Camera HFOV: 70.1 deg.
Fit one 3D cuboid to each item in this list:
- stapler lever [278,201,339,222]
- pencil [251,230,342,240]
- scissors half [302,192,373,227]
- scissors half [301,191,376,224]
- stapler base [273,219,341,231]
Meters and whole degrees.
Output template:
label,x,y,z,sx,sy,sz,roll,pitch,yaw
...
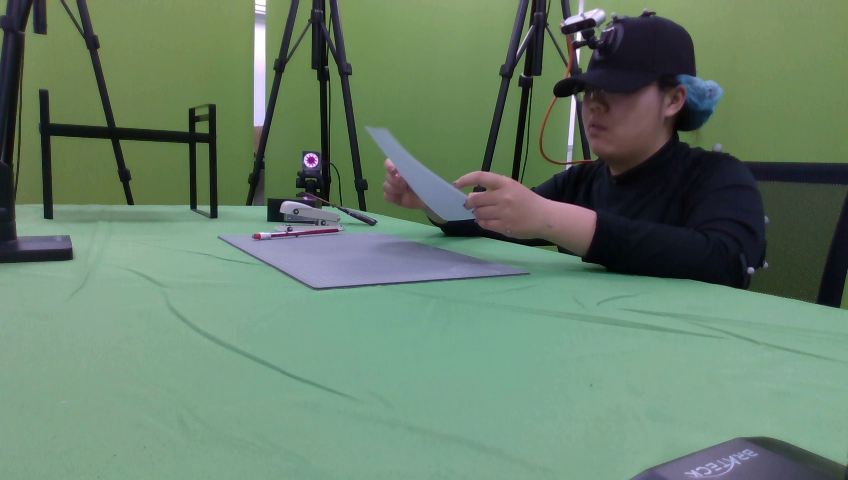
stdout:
label,x,y,z,sx,sy,sz,roll,pitch,yaw
stapler lever,-0.223,-0.054,1.170,0.119,0.040,0.026,-1,11,-34
pencil,-0.215,-0.011,1.049,0.012,0.012,0.195,9,9,39
scissors half,-0.191,-0.069,1.314,0.175,0.013,0.040,26,15,7
scissors half,-0.189,-0.073,1.333,0.175,0.013,0.040,23,10,-10
stapler base,-0.226,-0.030,1.172,0.131,0.024,0.041,0,10,-34
